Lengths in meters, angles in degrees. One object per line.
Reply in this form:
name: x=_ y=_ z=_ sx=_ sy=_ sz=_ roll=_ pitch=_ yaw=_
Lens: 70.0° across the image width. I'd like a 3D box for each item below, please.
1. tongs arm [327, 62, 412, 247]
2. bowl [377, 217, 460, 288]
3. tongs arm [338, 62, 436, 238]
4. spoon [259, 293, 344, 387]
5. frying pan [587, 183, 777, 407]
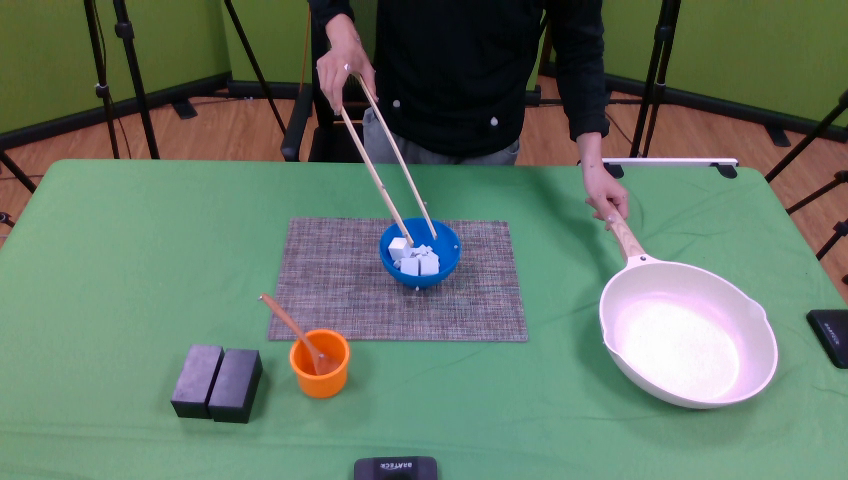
tongs arm: x=-0.094 y=-0.160 z=1.087 sx=0.051 sy=0.026 sz=0.383 roll=-26 pitch=73 yaw=-12
bowl: x=-0.012 y=0.036 z=1.118 sx=0.151 sy=0.077 sz=0.150 roll=2 pitch=46 yaw=-2
tongs arm: x=-0.067 y=-0.170 z=1.093 sx=0.028 sy=0.028 sz=0.386 roll=-25 pitch=72 yaw=-8
spoon: x=-0.191 y=0.155 z=0.947 sx=0.021 sy=0.194 sz=0.041 roll=-13 pitch=27 yaw=50
frying pan: x=0.412 y=0.079 z=1.097 sx=0.307 sy=0.103 sz=0.484 roll=-9 pitch=56 yaw=-14
